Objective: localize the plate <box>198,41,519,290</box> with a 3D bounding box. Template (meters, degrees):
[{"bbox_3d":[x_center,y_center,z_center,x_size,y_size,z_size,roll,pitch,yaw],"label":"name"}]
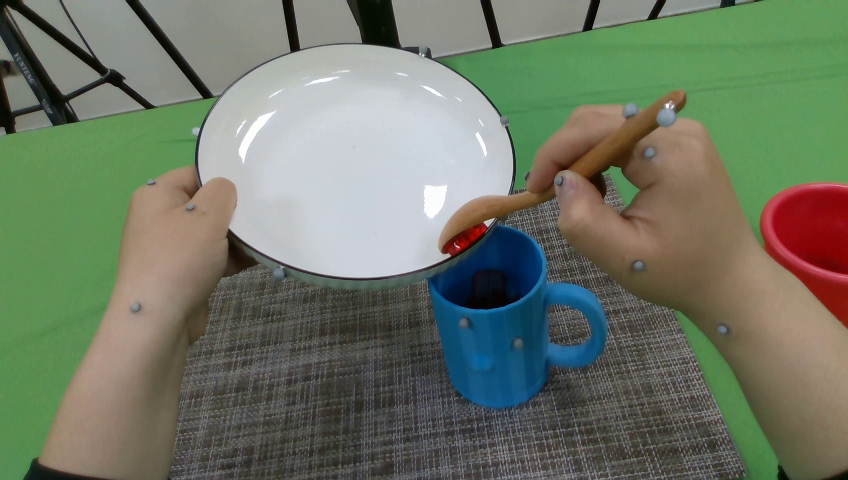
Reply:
[{"bbox_3d":[-0.041,-0.053,0.411,0.208,0.039,0.205,3,56,-4],"label":"plate"}]

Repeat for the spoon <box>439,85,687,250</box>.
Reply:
[{"bbox_3d":[0.054,-0.027,0.294,0.041,0.193,0.022,-38,95,-27],"label":"spoon"}]

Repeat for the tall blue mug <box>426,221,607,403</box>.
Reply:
[{"bbox_3d":[0.061,0.048,0.416,0.107,0.109,0.077,-14,44,-1],"label":"tall blue mug"}]
